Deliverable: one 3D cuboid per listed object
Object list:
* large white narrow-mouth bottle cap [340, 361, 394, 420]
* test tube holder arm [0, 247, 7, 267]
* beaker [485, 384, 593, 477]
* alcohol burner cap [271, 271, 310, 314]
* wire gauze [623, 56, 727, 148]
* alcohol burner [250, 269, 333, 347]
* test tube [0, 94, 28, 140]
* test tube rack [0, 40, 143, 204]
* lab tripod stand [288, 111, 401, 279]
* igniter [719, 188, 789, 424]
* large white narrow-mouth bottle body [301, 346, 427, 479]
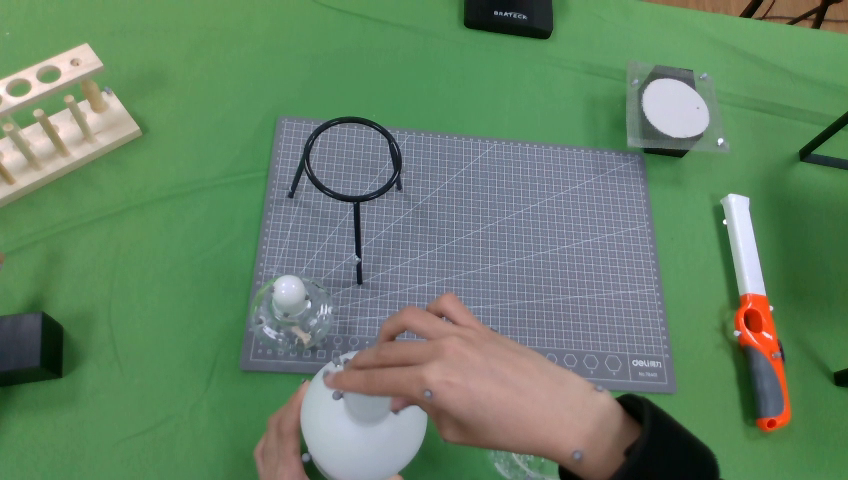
[{"bbox_3d":[-0.039,0.101,0.410,0.038,0.024,0.037,3,66,-7],"label":"large white narrow-mouth bottle cap"},{"bbox_3d":[-0.388,0.046,0.529,0.010,0.015,0.087,8,65,-5],"label":"test tube holder arm"},{"bbox_3d":[0.097,0.177,0.556,0.084,0.101,0.073,31,65,7],"label":"beaker"},{"bbox_3d":[-0.118,0.044,0.529,0.034,0.048,0.033,2,72,-7],"label":"alcohol burner cap"},{"bbox_3d":[0.300,-0.166,0.733,0.122,0.011,0.124,6,67,-6],"label":"wire gauze"},{"bbox_3d":[-0.123,0.058,0.563,0.078,0.119,0.077,4,65,-9],"label":"alcohol burner"},{"bbox_3d":[-0.410,-0.141,0.569,0.017,0.151,0.017,4,61,-7],"label":"test tube"},{"bbox_3d":[-0.420,-0.098,0.602,0.242,0.085,0.066,-35,76,-21],"label":"test tube rack"},{"bbox_3d":[-0.072,-0.051,0.607,0.149,0.132,0.147,4,67,-9],"label":"lab tripod stand"},{"bbox_3d":[0.371,0.067,0.685,0.057,0.025,0.274,10,66,-16],"label":"igniter"},{"bbox_3d":[-0.049,0.142,0.497,0.102,0.195,0.101,3,66,-6],"label":"large white narrow-mouth bottle body"}]
